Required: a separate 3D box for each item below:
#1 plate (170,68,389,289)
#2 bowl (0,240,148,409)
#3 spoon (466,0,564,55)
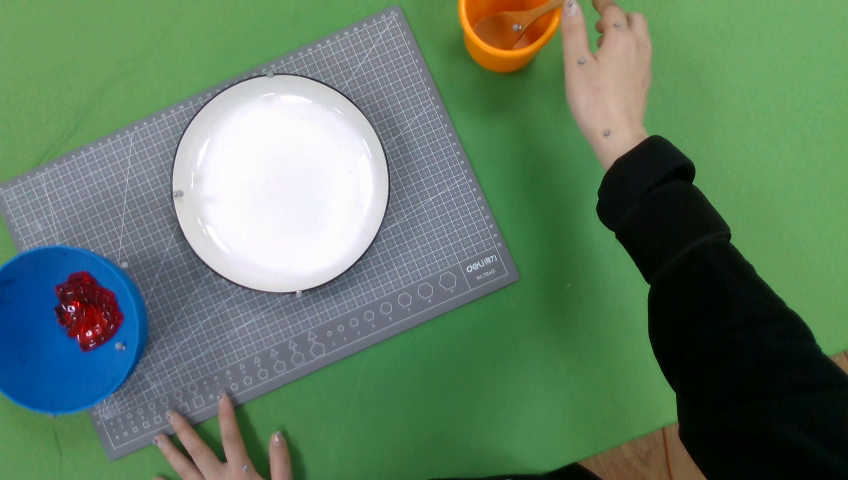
[{"bbox_3d":[-0.136,-0.058,0.586,0.209,0.038,0.209,0,90,1],"label":"plate"},{"bbox_3d":[-0.324,0.075,0.570,0.151,0.077,0.151,0,90,1],"label":"bowl"},{"bbox_3d":[0.113,-0.208,0.529,0.022,0.193,0.041,-12,92,-42],"label":"spoon"}]
